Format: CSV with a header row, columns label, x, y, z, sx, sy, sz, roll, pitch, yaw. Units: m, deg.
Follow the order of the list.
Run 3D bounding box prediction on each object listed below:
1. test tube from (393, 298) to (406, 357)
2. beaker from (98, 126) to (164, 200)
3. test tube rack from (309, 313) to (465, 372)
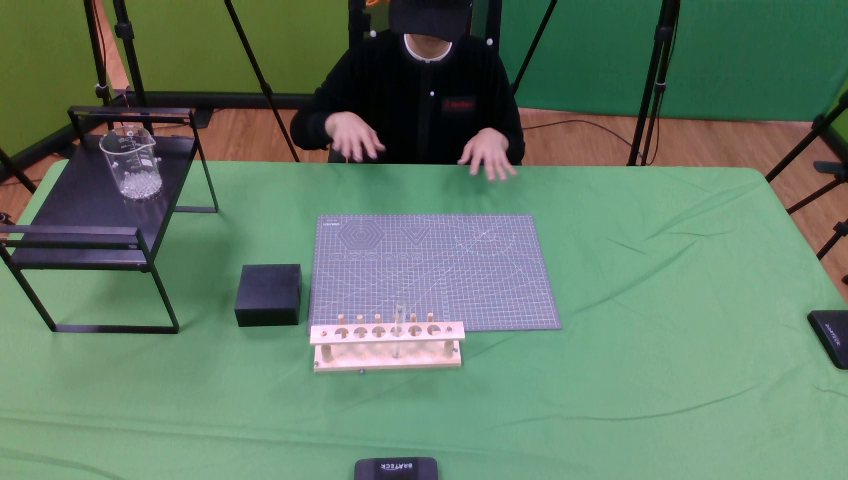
label,x,y,z,sx,sy,sz,roll,pitch,yaw
test tube,-0.039,0.139,0.943,0.017,0.151,0.017,3,48,-3
beaker,-0.464,-0.122,0.977,0.084,0.101,0.073,0,46,-5
test tube rack,-0.059,0.161,0.990,0.242,0.085,0.066,-1,46,-5
